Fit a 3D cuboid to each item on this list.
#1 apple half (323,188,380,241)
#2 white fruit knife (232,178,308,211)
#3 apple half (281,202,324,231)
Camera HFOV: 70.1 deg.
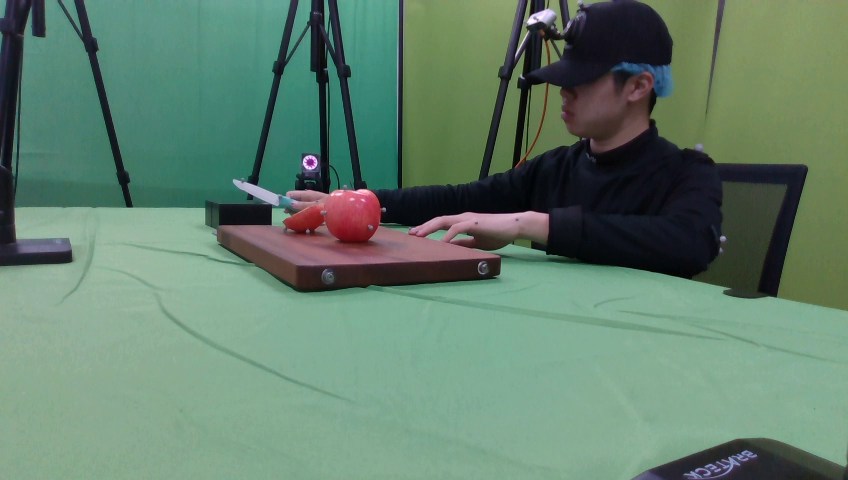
[{"bbox_3d":[-0.094,-0.034,0.840,0.081,0.074,0.053,1,10,-38],"label":"apple half"},{"bbox_3d":[-0.299,-0.084,1.249,0.208,0.027,0.016,24,-3,-36],"label":"white fruit knife"},{"bbox_3d":[-0.175,-0.033,0.927,0.081,0.033,0.081,-20,0,0],"label":"apple half"}]
